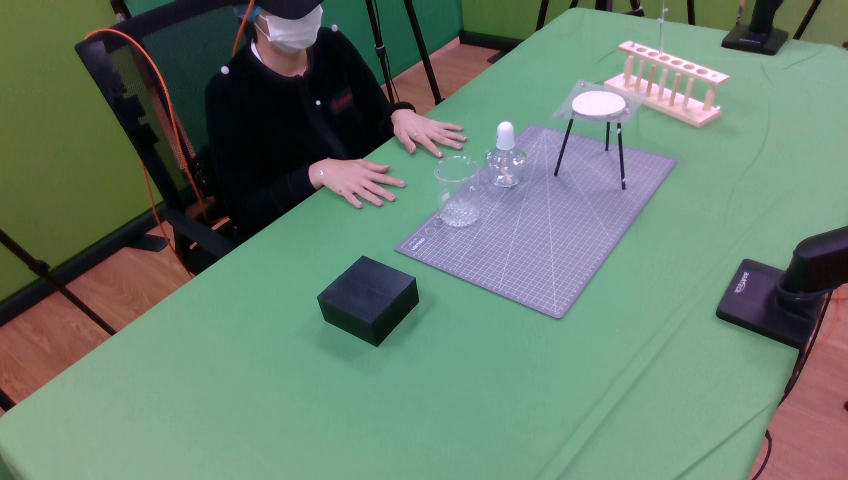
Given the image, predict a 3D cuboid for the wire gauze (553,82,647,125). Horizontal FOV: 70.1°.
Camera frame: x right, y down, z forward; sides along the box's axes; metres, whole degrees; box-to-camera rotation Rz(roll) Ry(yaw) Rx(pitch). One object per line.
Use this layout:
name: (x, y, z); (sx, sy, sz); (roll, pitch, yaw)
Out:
wire gauze: (0.293, -0.225, 1.002); (0.120, 0.011, 0.125); (17, 45, 27)

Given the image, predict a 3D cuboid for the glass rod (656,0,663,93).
glass rod: (0.469, -0.383, 1.205); (0.008, 0.201, 0.008); (-9, 39, 8)

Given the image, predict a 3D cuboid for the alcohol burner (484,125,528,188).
alcohol burner: (0.144, -0.152, 1.059); (0.078, 0.119, 0.077); (-3, 41, 3)

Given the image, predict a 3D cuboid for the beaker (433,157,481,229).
beaker: (0.058, -0.077, 0.994); (0.073, 0.101, 0.084); (19, 46, 28)

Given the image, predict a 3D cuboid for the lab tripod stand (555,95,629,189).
lab tripod stand: (0.300, -0.174, 1.045); (0.148, 0.132, 0.147); (-5, 38, 5)

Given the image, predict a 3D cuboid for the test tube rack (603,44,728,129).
test tube rack: (0.480, -0.316, 1.227); (0.067, 0.085, 0.240); (-28, 44, -22)

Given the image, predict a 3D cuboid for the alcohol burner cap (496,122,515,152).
alcohol burner cap: (0.139, -0.179, 1.037); (0.034, 0.048, 0.033); (-4, 43, 5)
